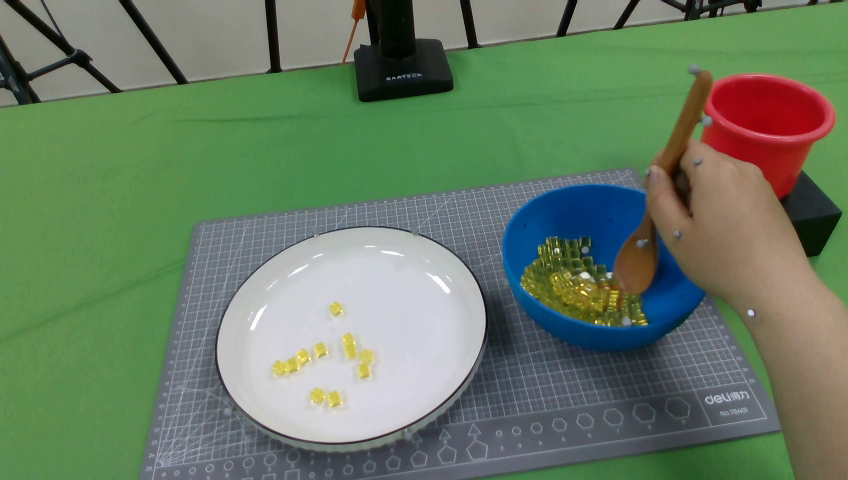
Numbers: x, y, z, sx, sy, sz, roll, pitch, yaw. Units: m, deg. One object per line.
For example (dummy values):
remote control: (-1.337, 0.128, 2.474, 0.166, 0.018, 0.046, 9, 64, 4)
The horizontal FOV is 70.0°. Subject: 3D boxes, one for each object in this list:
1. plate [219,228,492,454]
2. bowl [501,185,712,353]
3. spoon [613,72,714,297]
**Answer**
plate: (-0.051, 0.074, 0.477, 0.207, 0.039, 0.205, -3, 45, 3)
bowl: (0.134, 0.034, 0.471, 0.151, 0.077, 0.150, -2, 45, 3)
spoon: (0.162, -0.027, 0.419, 0.022, 0.195, 0.041, -13, 49, -9)
